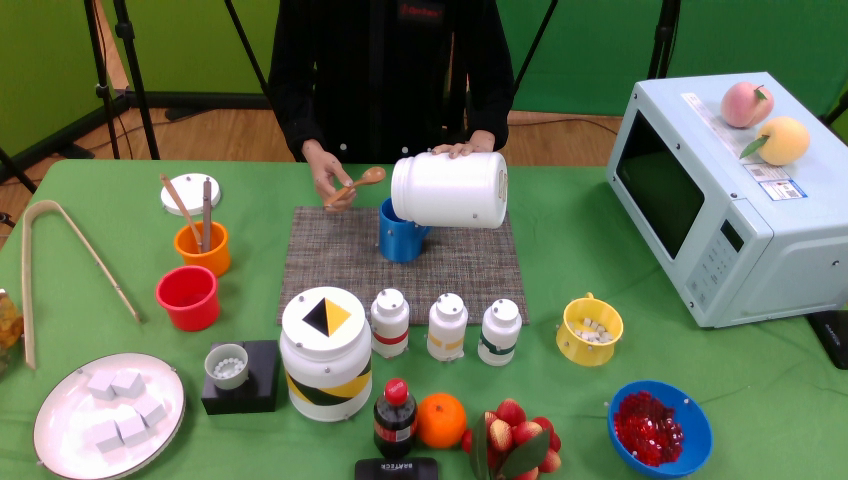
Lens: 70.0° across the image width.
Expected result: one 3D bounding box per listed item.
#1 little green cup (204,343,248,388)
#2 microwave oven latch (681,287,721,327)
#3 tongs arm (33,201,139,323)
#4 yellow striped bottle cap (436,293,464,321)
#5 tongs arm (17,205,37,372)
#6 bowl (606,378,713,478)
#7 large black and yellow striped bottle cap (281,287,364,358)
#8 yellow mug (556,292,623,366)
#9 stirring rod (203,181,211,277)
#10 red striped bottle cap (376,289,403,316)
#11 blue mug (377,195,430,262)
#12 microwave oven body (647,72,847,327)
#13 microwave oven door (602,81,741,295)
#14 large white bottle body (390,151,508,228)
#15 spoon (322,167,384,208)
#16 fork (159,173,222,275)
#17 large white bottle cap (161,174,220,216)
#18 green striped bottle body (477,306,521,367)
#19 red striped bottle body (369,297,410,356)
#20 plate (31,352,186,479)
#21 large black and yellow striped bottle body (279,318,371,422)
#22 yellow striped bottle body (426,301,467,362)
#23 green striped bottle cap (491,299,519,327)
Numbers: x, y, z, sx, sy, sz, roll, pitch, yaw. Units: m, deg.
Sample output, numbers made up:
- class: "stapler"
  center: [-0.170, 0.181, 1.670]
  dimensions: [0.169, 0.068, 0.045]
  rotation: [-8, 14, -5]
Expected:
- class: "little green cup"
  center: [-0.294, 0.190, 0.909]
  dimensions: [0.061, 0.039, 0.061]
  rotation: [1, 48, 0]
- class: "microwave oven latch"
  center: [0.494, 0.119, 1.087]
  dimensions: [0.030, 0.029, 0.078]
  rotation: [-6, 46, -9]
- class: "tongs arm"
  center: [-0.623, 0.035, 1.105]
  dimensions: [0.051, 0.026, 0.382]
  rotation: [-33, 56, -25]
- class: "yellow striped bottle cap"
  center: [0.041, 0.106, 0.959]
  dimensions: [0.044, 0.019, 0.044]
  rotation: [-1, 50, 1]
- class: "tongs arm"
  center: [-0.698, 0.072, 1.069]
  dimensions: [0.028, 0.028, 0.385]
  rotation: [-21, 51, -13]
- class: "bowl"
  center: [0.340, 0.292, 0.906]
  dimensions: [0.151, 0.077, 0.150]
  rotation: [2, 46, -2]
- class: "large black and yellow striped bottle cap"
  center: [-0.141, 0.112, 0.847]
  dimensions: [0.115, 0.019, 0.114]
  rotation: [5, 45, -4]
- class: "yellow mug"
  center: [0.285, 0.145, 1.051]
  dimensions: [0.100, 0.064, 0.130]
  rotation: [7, 45, 3]
- class: "stirring rod"
  center: [-0.396, -0.021, 1.107]
  dimensions: [0.014, 0.006, 0.176]
  rotation: [-1, 89, -1]
- class: "red striped bottle cap"
  center: [-0.054, 0.098, 0.958]
  dimensions: [0.044, 0.018, 0.044]
  rotation: [0, 48, 1]
- class: "blue mug"
  center: [-0.033, -0.028, 1.159]
  dimensions: [0.116, 0.106, 0.082]
  rotation: [-22, 52, -23]
- class: "microwave oven body"
  center: [0.607, -0.089, 1.164]
  dimensions: [0.326, 0.261, 0.438]
  rotation: [-7, 46, -10]
- class: "microwave oven door"
  center: [0.456, -0.107, 1.162]
  dimensions: [0.039, 0.245, 0.353]
  rotation: [-7, 47, -11]
- class: "large white bottle body"
  center: [0.044, -0.089, 1.056]
  dimensions: [0.184, 0.131, 0.130]
  rotation: [2, 44, 18]
- class: "spoon"
  center: [-0.129, -0.098, 1.097]
  dimensions: [0.041, 0.022, 0.193]
  rotation: [23, 29, 17]
- class: "fork"
  center: [-0.427, -0.029, 1.103]
  dimensions: [0.028, 0.018, 0.207]
  rotation: [-31, 99, -30]
- class: "large white bottle cap"
  center: [-0.483, -0.095, 1.253]
  dimensions: [0.115, 0.018, 0.114]
  rotation: [2, 46, -2]
- class: "green striped bottle body"
  center: [0.124, 0.151, 0.995]
  dimensions: [0.063, 0.120, 0.063]
  rotation: [2, 46, -2]
- class: "red striped bottle body"
  center: [-0.058, 0.135, 0.997]
  dimensions: [0.063, 0.120, 0.062]
  rotation: [6, 49, -7]
- class: "plate"
  center: [-0.459, 0.262, 0.898]
  dimensions: [0.209, 0.038, 0.208]
  rotation: [2, 45, -2]
- class: "large black and yellow striped bottle body"
  center: [-0.145, 0.173, 0.907]
  dimensions: [0.131, 0.185, 0.130]
  rotation: [2, 46, -2]
- class: "yellow striped bottle body"
  center: [0.037, 0.142, 0.996]
  dimensions: [0.063, 0.121, 0.062]
  rotation: [2, 46, -2]
- class: "green striped bottle cap"
  center: [0.128, 0.115, 0.958]
  dimensions: [0.044, 0.020, 0.044]
  rotation: [1, 47, -1]
